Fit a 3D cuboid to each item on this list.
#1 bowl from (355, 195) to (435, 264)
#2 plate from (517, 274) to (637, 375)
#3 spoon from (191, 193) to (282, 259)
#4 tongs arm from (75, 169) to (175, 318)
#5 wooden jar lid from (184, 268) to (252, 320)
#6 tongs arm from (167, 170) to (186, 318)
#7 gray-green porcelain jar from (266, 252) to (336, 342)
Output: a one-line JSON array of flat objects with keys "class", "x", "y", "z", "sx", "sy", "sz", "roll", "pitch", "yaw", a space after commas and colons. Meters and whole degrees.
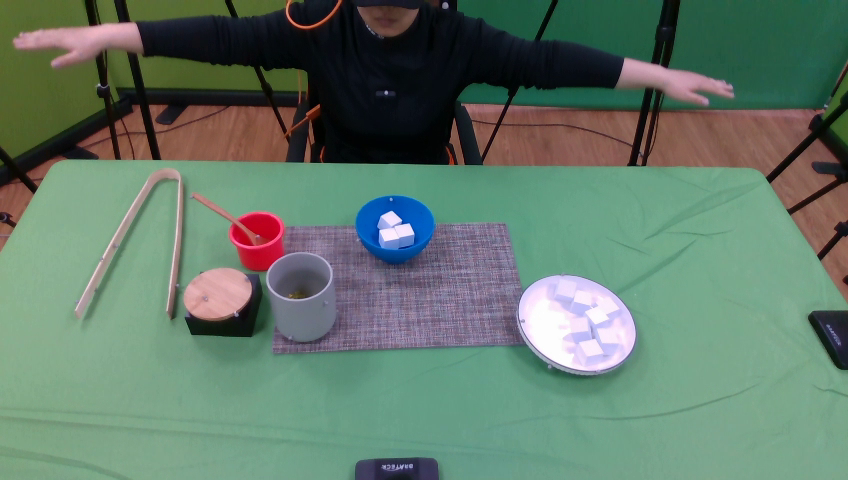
[{"class": "bowl", "x": -0.056, "y": -0.008, "z": 1.158, "sx": 0.151, "sy": 0.077, "sz": 0.150, "roll": 2, "pitch": 46, "yaw": -2}, {"class": "plate", "x": 0.264, "y": 0.149, "z": 1.060, "sx": 0.209, "sy": 0.038, "sz": 0.208, "roll": 3, "pitch": 46, "yaw": -3}, {"class": "spoon", "x": -0.342, "y": -0.027, "z": 1.115, "sx": 0.194, "sy": 0.021, "sz": 0.041, "roll": 43, "pitch": 40, "yaw": -24}, {"class": "tongs arm", "x": -0.559, "y": -0.008, "z": 1.155, "sx": 0.051, "sy": 0.026, "sz": 0.382, "roll": 3, "pitch": 45, "yaw": -2}, {"class": "wooden jar lid", "x": -0.343, "y": 0.092, "z": 1.015, "sx": 0.108, "sy": 0.021, "sz": 0.107, "roll": 3, "pitch": 46, "yaw": -3}, {"class": "tongs arm", "x": -0.479, "y": -0.007, "z": 1.165, "sx": 0.028, "sy": 0.028, "sz": 0.385, "roll": -9, "pitch": 47, "yaw": -9}, {"class": "gray-green porcelain jar", "x": -0.202, "y": 0.100, "z": 1.009, "sx": 0.106, "sy": 0.127, "sz": 0.105, "roll": 2, "pitch": 46, "yaw": -2}]
